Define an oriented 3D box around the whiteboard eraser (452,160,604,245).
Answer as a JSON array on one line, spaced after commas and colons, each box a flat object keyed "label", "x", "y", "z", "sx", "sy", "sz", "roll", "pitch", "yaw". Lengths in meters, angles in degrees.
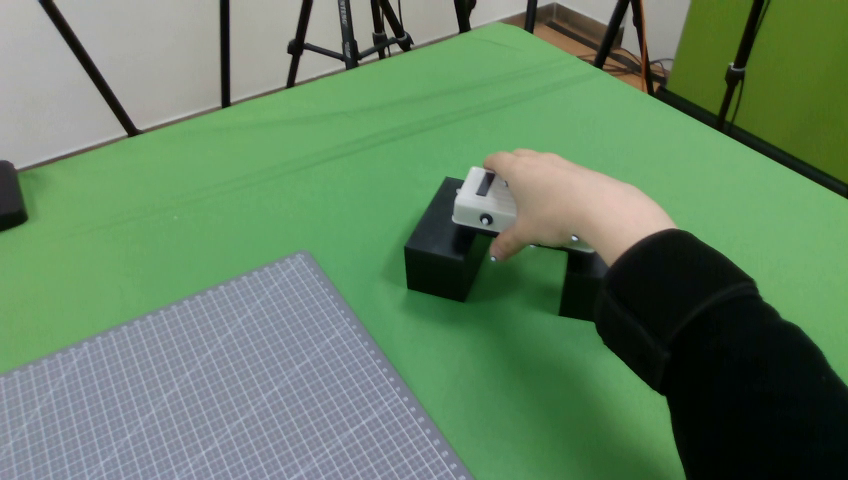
[{"label": "whiteboard eraser", "x": 0.082, "y": -0.028, "z": 0.480, "sx": 0.112, "sy": 0.042, "sz": 0.055, "roll": 12, "pitch": 42, "yaw": 14}]
